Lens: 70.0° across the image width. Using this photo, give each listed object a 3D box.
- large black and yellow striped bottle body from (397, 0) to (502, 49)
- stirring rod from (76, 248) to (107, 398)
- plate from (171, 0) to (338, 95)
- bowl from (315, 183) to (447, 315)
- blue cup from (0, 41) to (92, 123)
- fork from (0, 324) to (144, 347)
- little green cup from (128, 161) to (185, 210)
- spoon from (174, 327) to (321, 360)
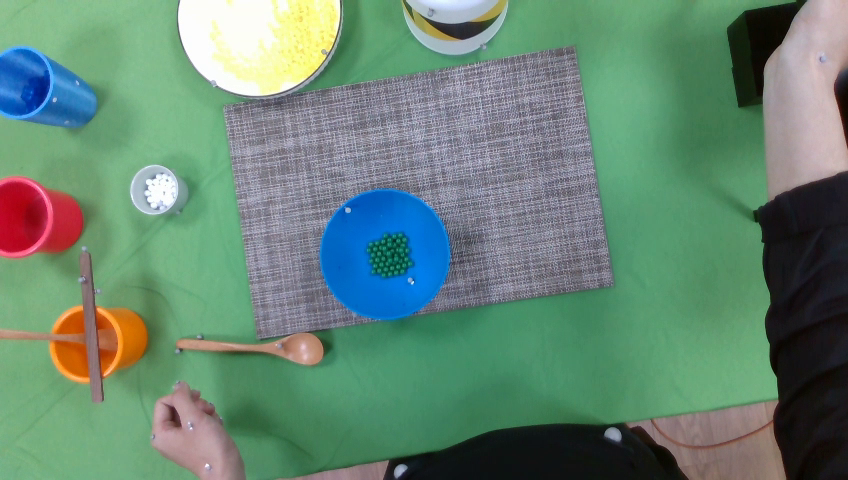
[{"bbox_3d":[0.027,-0.306,0.673,0.131,0.184,0.130,0,88,4],"label":"large black and yellow striped bottle body"},{"bbox_3d":[-0.387,0.096,0.703,0.014,0.006,0.176,-8,89,4],"label":"stirring rod"},{"bbox_3d":[-0.209,-0.282,0.759,0.209,0.038,0.209,0,89,3],"label":"plate"},{"bbox_3d":[-0.046,0.011,0.721,0.151,0.077,0.151,0,89,4],"label":"bowl"},{"bbox_3d":[-0.464,-0.184,0.739,0.092,0.100,0.092,0,89,5],"label":"blue cup"},{"bbox_3d":[-0.439,0.108,0.709,0.209,0.018,0.028,11,91,-40],"label":"fork"},{"bbox_3d":[-0.333,-0.066,0.761,0.061,0.038,0.061,0,89,4],"label":"little green cup"},{"bbox_3d":[-0.222,0.127,0.759,0.194,0.021,0.042,2,102,3],"label":"spoon"}]
